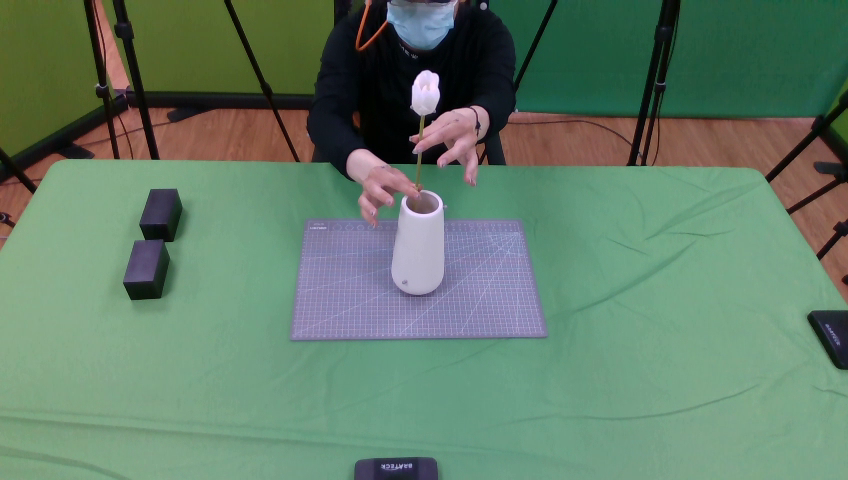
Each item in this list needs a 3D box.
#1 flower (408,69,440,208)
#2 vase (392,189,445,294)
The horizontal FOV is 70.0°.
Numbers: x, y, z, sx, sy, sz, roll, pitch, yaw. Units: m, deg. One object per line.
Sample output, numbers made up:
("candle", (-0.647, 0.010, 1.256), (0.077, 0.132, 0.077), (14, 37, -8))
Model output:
("flower", (-0.014, -0.113, 0.953), (0.038, 0.363, 0.044), (-8, 56, -13))
("vase", (-0.007, 0.007, 1.060), (0.098, 0.201, 0.097), (2, 48, -2))
